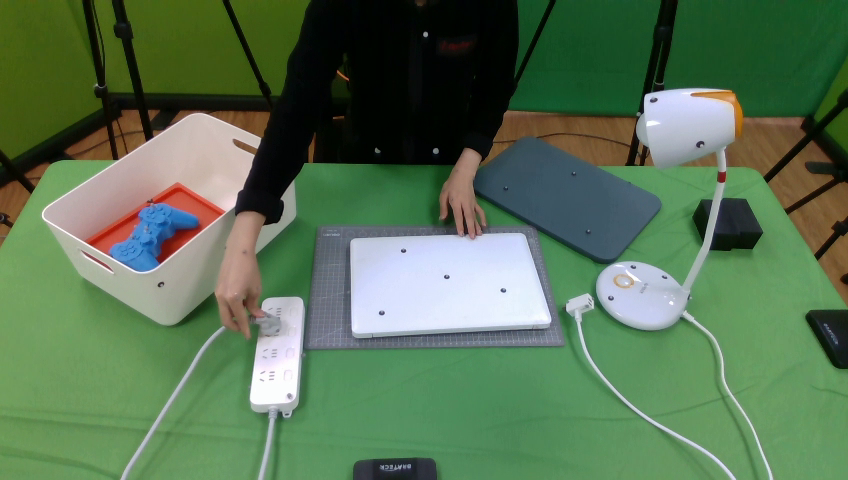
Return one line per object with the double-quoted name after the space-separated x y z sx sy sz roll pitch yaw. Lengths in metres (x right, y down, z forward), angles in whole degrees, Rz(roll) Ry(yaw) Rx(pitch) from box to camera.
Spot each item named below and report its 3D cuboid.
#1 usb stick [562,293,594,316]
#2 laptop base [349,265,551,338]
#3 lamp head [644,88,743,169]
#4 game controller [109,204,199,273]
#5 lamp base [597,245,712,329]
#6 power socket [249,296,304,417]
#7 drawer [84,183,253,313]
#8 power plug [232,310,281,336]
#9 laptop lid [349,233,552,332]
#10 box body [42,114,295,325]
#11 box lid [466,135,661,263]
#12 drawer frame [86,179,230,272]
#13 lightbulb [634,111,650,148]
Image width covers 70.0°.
0.275 0.118 1.087 0.021 0.059 0.027 40 44 -28 "usb stick"
0.039 0.080 1.125 0.355 0.023 0.234 -2 43 -6 "laptop base"
0.380 -0.160 0.851 0.122 0.113 0.112 -4 42 25 "lamp head"
-0.467 -0.005 1.044 0.097 0.052 0.154 8 45 10 "game controller"
0.418 0.051 1.071 0.179 0.181 0.160 22 49 13 "lamp base"
-0.239 0.182 0.996 0.072 0.033 0.225 -2 47 -5 "power socket"
-0.457 0.009 1.100 0.194 0.073 0.211 29 50 21 "drawer"
-0.271 0.137 0.995 0.072 0.053 0.035 5 41 5 "power plug"
0.040 0.070 1.119 0.357 0.013 0.240 -1 44 -5 "laptop lid"
-0.437 -0.046 1.110 0.253 0.161 0.363 24 49 19 "box body"
0.306 -0.102 1.327 0.370 0.015 0.263 32 52 25 "box lid"
-0.453 0.010 1.100 0.201 0.083 0.213 28 55 23 "drawer frame"
0.348 -0.163 0.852 0.059 0.060 0.107 -36 19 -32 "lightbulb"
